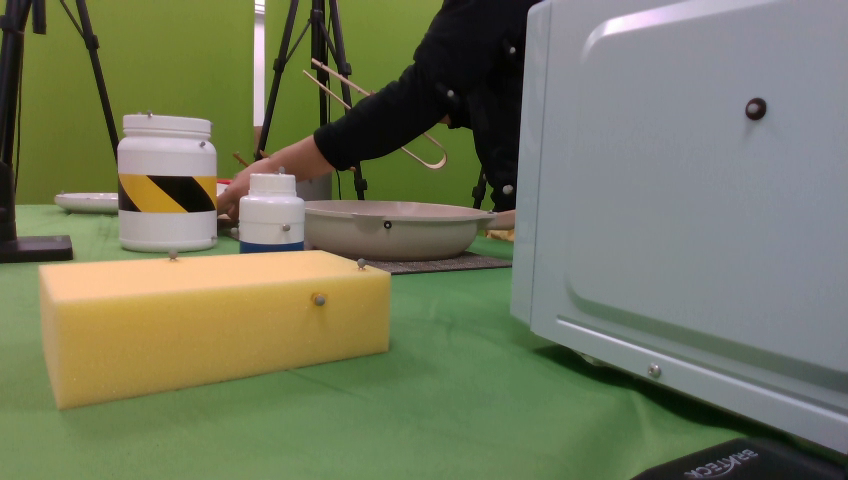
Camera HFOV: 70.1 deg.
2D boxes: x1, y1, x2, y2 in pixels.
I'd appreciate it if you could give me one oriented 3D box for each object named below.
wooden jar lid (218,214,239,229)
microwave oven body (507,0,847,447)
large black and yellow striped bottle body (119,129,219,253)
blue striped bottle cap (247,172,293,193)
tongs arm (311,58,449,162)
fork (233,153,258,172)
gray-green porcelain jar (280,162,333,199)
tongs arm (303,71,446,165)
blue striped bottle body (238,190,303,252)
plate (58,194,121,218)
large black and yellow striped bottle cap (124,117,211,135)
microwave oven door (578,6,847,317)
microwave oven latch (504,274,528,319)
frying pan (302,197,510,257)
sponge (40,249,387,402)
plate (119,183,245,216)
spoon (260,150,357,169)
[{"bbox_3d":[-0.404,-0.036,1.169,0.108,0.020,0.108,3,8,0],"label":"wooden jar lid"},{"bbox_3d":[0.331,-0.042,0.425,0.444,0.260,0.324,-2,8,-31],"label":"microwave oven body"},{"bbox_3d":[-0.367,-0.080,0.876,0.131,0.184,0.130,2,7,0],"label":"large black and yellow striped bottle body"},{"bbox_3d":[-0.152,-0.057,0.598,0.044,0.020,0.044,3,7,0],"label":"blue striped bottle cap"},{"bbox_3d":[-0.094,-0.290,1.381,0.386,0.050,0.026,27,16,-23],"label":"tongs arm"},{"bbox_3d":[-0.396,-0.143,1.486,0.028,0.018,0.208,21,-26,45],"label":"fork"},{"bbox_3d":[-0.238,-0.092,1.221,0.106,0.126,0.106,2,7,0],"label":"gray-green porcelain jar"},{"bbox_3d":[-0.108,-0.273,1.387,0.389,0.028,0.027,31,10,-24],"label":"tongs arm"},{"bbox_3d":[-0.153,-0.007,0.606,0.063,0.120,0.063,2,8,0],"label":"blue striped bottle body"},{"bbox_3d":[-0.671,-0.074,1.310,0.209,0.038,0.209,2,8,0],"label":"plate"},{"bbox_3d":[-0.366,-0.163,0.866,0.115,0.019,0.115,3,7,0],"label":"large black and yellow striped bottle cap"},{"bbox_3d":[0.294,-0.067,0.570,0.358,0.243,0.039,-3,9,-31],"label":"microwave oven door"},{"bbox_3d":[0.100,0.041,0.471,0.079,0.029,0.030,-1,7,-28],"label":"microwave oven latch"},{"bbox_3d":[0.051,-0.035,0.915,0.487,0.102,0.307,-5,7,10],"label":"frying pan"},{"bbox_3d":[-0.142,0.047,0.420,0.208,0.061,0.117,-3,8,-36],"label":"sponge"},{"bbox_3d":[-0.430,-0.070,1.084,0.208,0.039,0.207,3,15,0],"label":"plate"},{"bbox_3d":[-0.231,-0.162,1.221,0.194,0.021,0.041,3,1,-16],"label":"spoon"}]
